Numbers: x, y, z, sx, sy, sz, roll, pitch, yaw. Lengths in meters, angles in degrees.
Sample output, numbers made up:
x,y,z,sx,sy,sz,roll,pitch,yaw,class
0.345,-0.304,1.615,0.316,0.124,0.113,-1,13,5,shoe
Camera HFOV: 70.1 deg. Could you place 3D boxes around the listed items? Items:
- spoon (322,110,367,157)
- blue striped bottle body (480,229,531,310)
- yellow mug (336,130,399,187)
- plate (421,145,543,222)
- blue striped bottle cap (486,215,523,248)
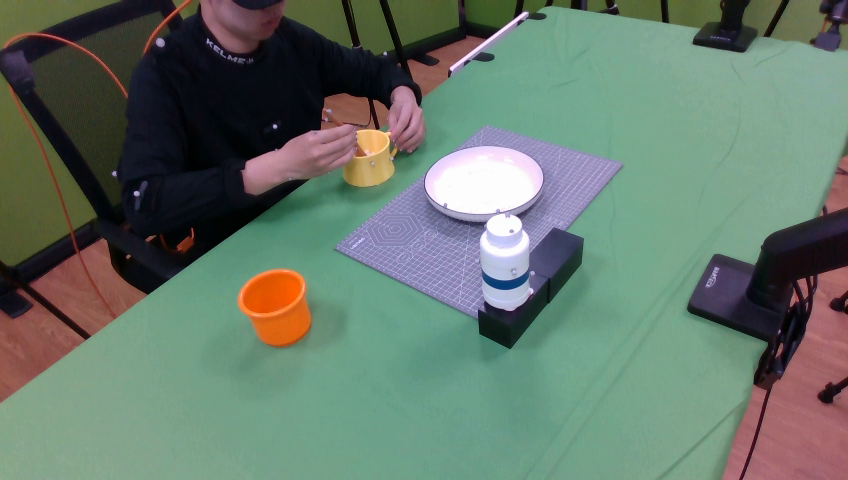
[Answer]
x,y,z,sx,sy,sz,roll,pitch,yaw,class
-0.132,-0.178,1.062,0.041,0.195,0.021,25,78,26,spoon
0.104,0.027,0.769,0.063,0.121,0.063,-4,40,4,blue striped bottle body
-0.098,-0.161,1.139,0.131,0.064,0.099,-35,47,-29,yellow mug
0.101,-0.094,1.048,0.207,0.039,0.206,-4,41,4,plate
0.098,-0.011,0.735,0.044,0.021,0.044,-3,38,3,blue striped bottle cap
